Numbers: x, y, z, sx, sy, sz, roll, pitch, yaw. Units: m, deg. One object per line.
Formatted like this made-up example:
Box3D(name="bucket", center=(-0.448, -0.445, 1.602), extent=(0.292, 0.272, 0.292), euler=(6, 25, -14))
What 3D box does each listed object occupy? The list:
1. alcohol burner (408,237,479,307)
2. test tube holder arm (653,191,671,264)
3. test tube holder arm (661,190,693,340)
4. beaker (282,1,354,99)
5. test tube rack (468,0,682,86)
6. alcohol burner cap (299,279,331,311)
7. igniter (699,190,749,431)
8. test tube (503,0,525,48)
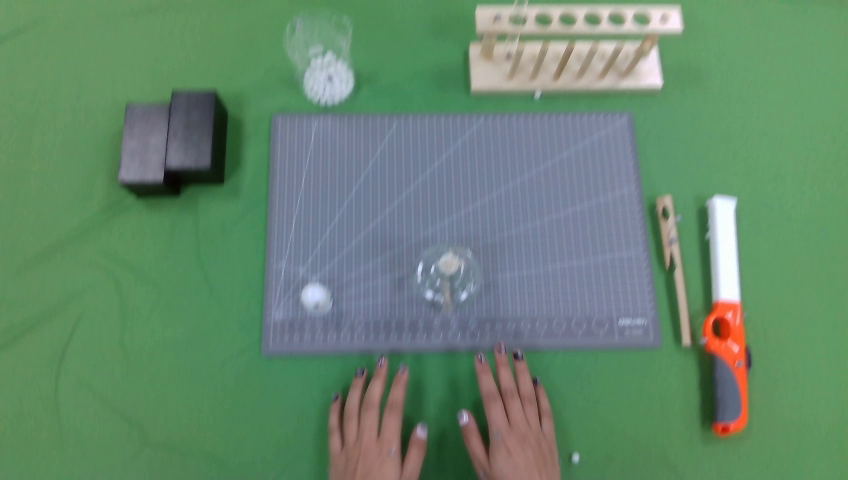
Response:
Box3D(name="alcohol burner", center=(0.022, 0.030, 0.646), extent=(0.078, 0.119, 0.077), euler=(1, 73, -2))
Box3D(name="test tube holder arm", center=(0.286, -0.015, 0.721), extent=(0.010, 0.015, 0.087), euler=(-13, 74, 31))
Box3D(name="test tube holder arm", center=(0.295, 0.027, 0.708), extent=(0.013, 0.015, 0.177), euler=(-14, 73, 31))
Box3D(name="beaker", center=(-0.118, -0.220, 0.716), extent=(0.084, 0.100, 0.073), euler=(-35, 79, -11))
Box3D(name="test tube rack", center=(0.179, -0.241, 0.740), extent=(0.242, 0.085, 0.066), euler=(-1, 75, -2))
Box3D(name="alcohol burner cap", center=(-0.122, 0.059, 0.670), extent=(0.034, 0.048, 0.033), euler=(1, 75, -2))
Box3D(name="igniter", center=(0.342, 0.076, 0.694), extent=(0.057, 0.025, 0.275), euler=(8, 75, -10))
Box3D(name="test tube", center=(0.107, -0.271, 0.694), extent=(0.017, 0.151, 0.017), euler=(0, 71, -1))
